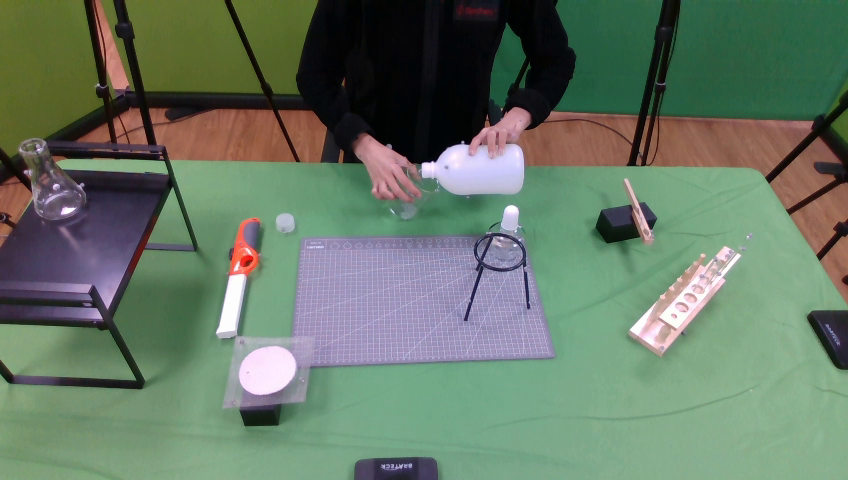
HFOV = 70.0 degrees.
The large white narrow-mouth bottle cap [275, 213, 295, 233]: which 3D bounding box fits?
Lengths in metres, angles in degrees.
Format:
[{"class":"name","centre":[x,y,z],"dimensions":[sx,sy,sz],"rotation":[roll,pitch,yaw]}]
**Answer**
[{"class":"large white narrow-mouth bottle cap","centre":[-0.277,-0.034,1.213],"dimensions":[0.038,0.024,0.037],"rotation":[3,46,-3]}]

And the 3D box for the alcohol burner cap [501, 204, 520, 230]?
[{"class":"alcohol burner cap","centre":[0.164,-0.046,1.133],"dimensions":[0.034,0.048,0.033],"rotation":[2,40,-2]}]

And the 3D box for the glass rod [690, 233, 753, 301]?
[{"class":"glass rod","centre":[0.507,0.053,1.041],"dimensions":[0.008,0.200,0.008],"rotation":[5,51,-6]}]

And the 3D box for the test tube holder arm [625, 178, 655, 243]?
[{"class":"test tube holder arm","centre":[0.433,-0.062,1.220],"dimensions":[0.013,0.015,0.177],"rotation":[1,47,-3]}]

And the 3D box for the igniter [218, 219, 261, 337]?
[{"class":"igniter","centre":[-0.336,0.060,1.111],"dimensions":[0.057,0.025,0.274],"rotation":[-8,46,3]}]

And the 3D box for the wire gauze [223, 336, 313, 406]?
[{"class":"wire gauze","centre":[-0.237,0.197,0.931],"dimensions":[0.121,0.011,0.124],"rotation":[1,45,-4]}]

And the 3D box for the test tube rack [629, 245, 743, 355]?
[{"class":"test tube rack","centre":[0.474,0.095,1.091],"dimensions":[0.242,0.085,0.066],"rotation":[-34,56,-31]}]

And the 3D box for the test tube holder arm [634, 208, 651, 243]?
[{"class":"test tube holder arm","centre":[0.428,-0.030,1.189],"dimensions":[0.010,0.015,0.087],"rotation":[1,47,-2]}]

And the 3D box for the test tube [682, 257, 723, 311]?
[{"class":"test tube","centre":[0.475,0.080,1.037],"dimensions":[0.017,0.151,0.017],"rotation":[1,51,-1]}]

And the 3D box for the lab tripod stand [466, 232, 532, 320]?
[{"class":"lab tripod stand","centre":[0.125,0.059,1.065],"dimensions":[0.148,0.132,0.147],"rotation":[1,45,0]}]

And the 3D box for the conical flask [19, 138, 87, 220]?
[{"class":"conical flask","centre":[-0.576,-0.097,0.930],"dimensions":[0.075,0.122,0.075],"rotation":[2,46,-2]}]

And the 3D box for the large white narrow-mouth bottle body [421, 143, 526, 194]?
[{"class":"large white narrow-mouth bottle body","centre":[0.092,-0.138,1.172],"dimensions":[0.195,0.102,0.101],"rotation":[-1,46,-3]}]

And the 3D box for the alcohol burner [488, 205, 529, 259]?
[{"class":"alcohol burner","centre":[0.163,-0.020,1.158],"dimensions":[0.078,0.120,0.077],"rotation":[0,47,0]}]

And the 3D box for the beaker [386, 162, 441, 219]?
[{"class":"beaker","centre":[-0.024,-0.095,1.223],"dimensions":[0.084,0.100,0.073],"rotation":[30,42,-14]}]
